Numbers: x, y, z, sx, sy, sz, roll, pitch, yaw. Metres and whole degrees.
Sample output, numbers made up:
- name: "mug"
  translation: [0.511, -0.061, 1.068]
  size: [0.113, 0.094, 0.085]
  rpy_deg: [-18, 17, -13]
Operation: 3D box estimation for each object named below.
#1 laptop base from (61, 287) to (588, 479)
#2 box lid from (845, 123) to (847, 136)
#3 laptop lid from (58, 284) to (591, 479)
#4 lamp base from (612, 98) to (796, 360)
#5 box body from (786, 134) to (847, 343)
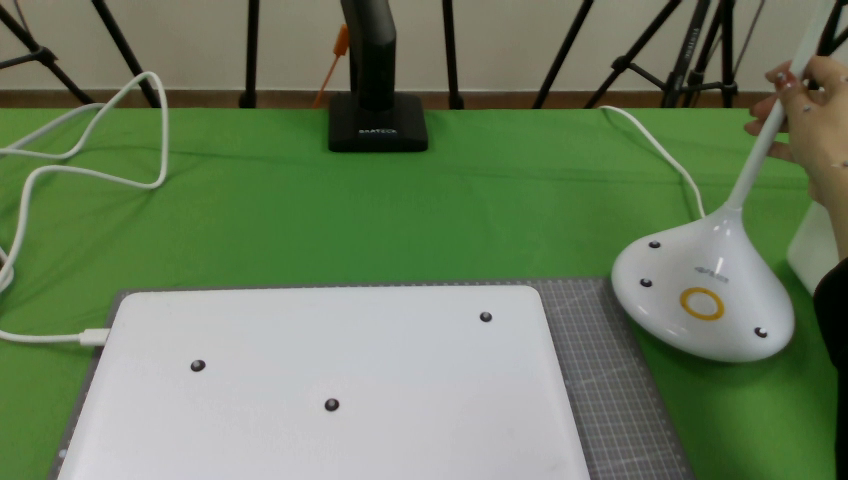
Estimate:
- name: "laptop base"
  translation: [-0.066, 0.129, 0.450]
  size: [0.355, 0.023, 0.233]
  rpy_deg: [0, 46, -6]
- name: "box lid"
  translation: [0.504, 0.011, 0.416]
  size: [0.264, 0.015, 0.367]
  rpy_deg: [-1, 43, -8]
- name: "laptop lid"
  translation: [-0.065, 0.122, 0.440]
  size: [0.357, 0.013, 0.239]
  rpy_deg: [1, 44, -5]
- name: "lamp base"
  translation: [0.262, -0.021, 0.516]
  size: [0.160, 0.181, 0.178]
  rpy_deg: [17, 35, 14]
- name: "box body"
  translation: [0.500, 0.068, 0.464]
  size: [0.255, 0.162, 0.360]
  rpy_deg: [-2, 43, -7]
